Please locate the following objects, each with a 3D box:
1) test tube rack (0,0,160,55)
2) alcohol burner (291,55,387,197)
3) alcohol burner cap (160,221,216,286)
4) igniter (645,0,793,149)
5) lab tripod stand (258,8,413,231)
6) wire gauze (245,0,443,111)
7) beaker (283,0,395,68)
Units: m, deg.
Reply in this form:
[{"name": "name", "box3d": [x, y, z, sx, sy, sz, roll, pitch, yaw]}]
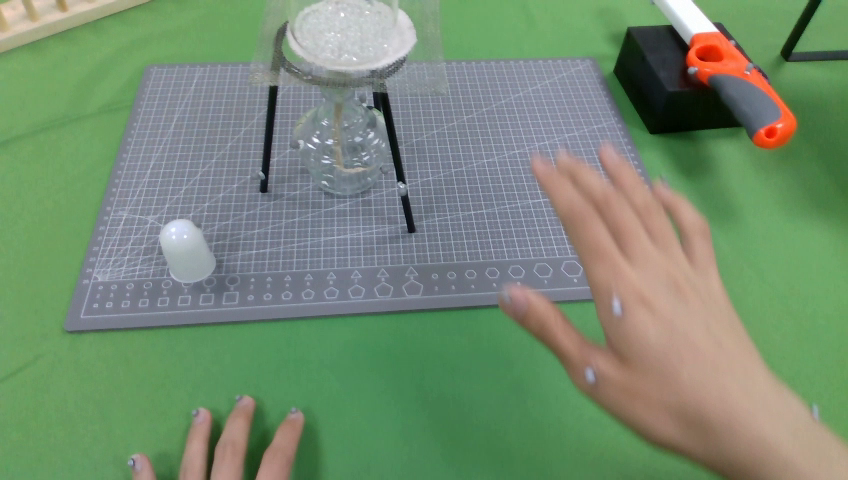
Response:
[{"name": "test tube rack", "box3d": [-0.373, -0.270, 0.614, 0.242, 0.086, 0.066, -34, 61, -27]}, {"name": "alcohol burner", "box3d": [-0.065, -0.091, 0.467, 0.078, 0.120, 0.077, 1, 52, -1]}, {"name": "alcohol burner cap", "box3d": [-0.169, 0.007, 0.428, 0.034, 0.048, 0.033, 3, 50, -3]}, {"name": "igniter", "box3d": [0.256, -0.177, 0.556, 0.057, 0.025, 0.273, -7, 50, -5]}, {"name": "lab tripod stand", "box3d": [-0.057, -0.089, 0.454, 0.148, 0.132, 0.147, 3, 51, -3]}, {"name": "wire gauze", "box3d": [-0.050, -0.136, 0.408, 0.125, 0.011, 0.120, 3, 55, -5]}, {"name": "beaker", "box3d": [-0.052, -0.162, 0.365, 0.074, 0.101, 0.083, -11, 54, -11]}]
